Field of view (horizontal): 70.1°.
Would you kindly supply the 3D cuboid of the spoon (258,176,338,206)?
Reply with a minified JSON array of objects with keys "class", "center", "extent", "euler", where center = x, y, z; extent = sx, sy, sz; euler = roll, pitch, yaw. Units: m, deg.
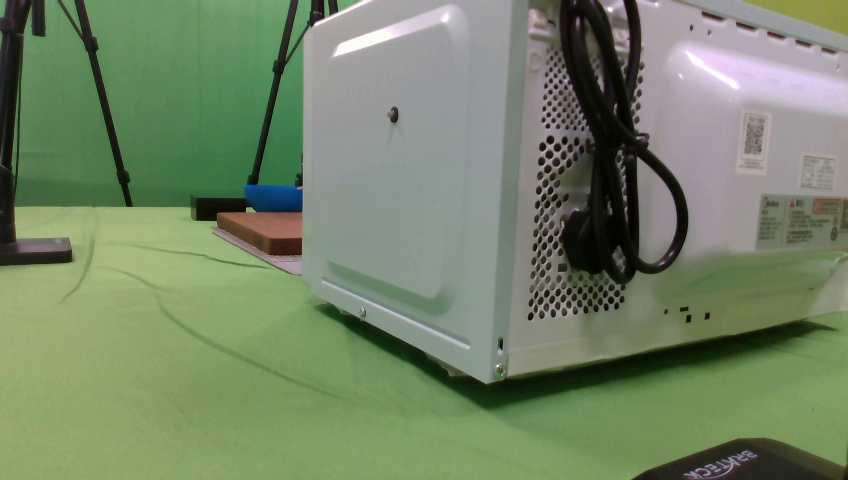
[{"class":"spoon","center":[-0.279,-0.112,1.356],"extent":[0.194,0.021,0.041],"euler":[-28,18,-27]}]

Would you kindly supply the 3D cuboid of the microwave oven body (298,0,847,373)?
[{"class":"microwave oven body","center":[0.151,-0.055,0.543],"extent":[0.444,0.260,0.324],"euler":[-1,7,-33]}]

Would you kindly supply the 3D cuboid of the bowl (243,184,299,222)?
[{"class":"bowl","center":[-0.321,-0.081,1.333],"extent":[0.151,0.077,0.151],"euler":[3,7,0]}]

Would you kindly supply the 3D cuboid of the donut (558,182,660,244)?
[{"class":"donut","center":[0.184,-0.028,0.607],"extent":[0.099,0.048,0.099],"euler":[11,-10,2]}]

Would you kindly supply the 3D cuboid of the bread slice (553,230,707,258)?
[{"class":"bread slice","center":[0.203,0.003,0.584],"extent":[0.105,0.019,0.131],"euler":[6,-2,-19]}]

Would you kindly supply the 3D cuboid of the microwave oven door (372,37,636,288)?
[{"class":"microwave oven door","center":[0.110,-0.080,0.686],"extent":[0.358,0.243,0.039],"euler":[-2,9,-33]}]

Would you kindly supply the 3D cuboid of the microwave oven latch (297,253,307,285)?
[{"class":"microwave oven latch","center":[-0.082,0.027,0.582],"extent":[0.079,0.029,0.030],"euler":[-1,7,-33]}]

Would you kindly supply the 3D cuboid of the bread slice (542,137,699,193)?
[{"class":"bread slice","center":[0.198,-0.074,0.597],"extent":[0.107,0.018,0.133],"euler":[-1,22,-43]}]
